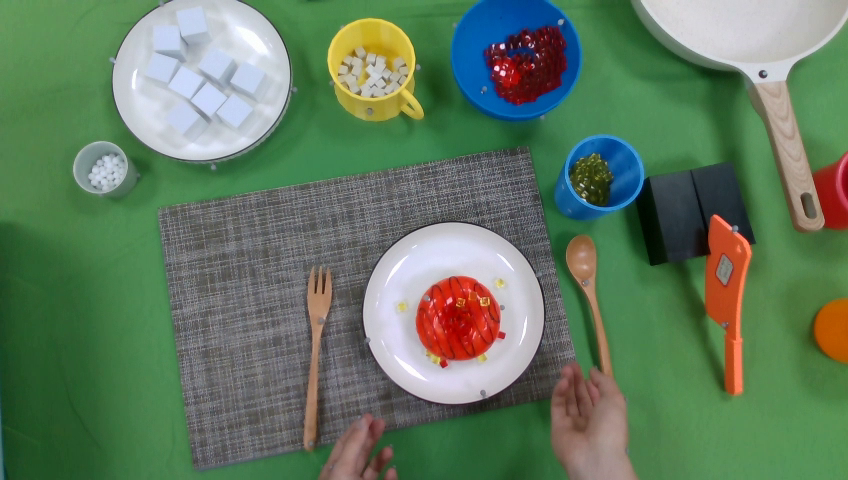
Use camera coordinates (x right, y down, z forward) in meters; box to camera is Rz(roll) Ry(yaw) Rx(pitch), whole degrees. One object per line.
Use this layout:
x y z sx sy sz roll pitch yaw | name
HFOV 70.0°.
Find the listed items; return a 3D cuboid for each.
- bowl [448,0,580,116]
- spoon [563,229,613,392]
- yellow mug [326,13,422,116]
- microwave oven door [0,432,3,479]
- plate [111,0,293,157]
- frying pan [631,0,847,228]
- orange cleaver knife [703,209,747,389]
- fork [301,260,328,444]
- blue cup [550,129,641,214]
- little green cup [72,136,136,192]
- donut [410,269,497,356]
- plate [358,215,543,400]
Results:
0.101 -0.211 0.719 0.151 0.077 0.151 0 83 -2 | bowl
0.198 0.082 0.712 0.042 0.021 0.193 -8 82 -23 | spoon
-0.051 -0.196 0.717 0.131 0.064 0.100 42 82 2 | yellow mug
-0.470 0.195 0.539 0.039 0.244 0.354 -8 83 -3 | microwave oven door
-0.259 -0.197 0.722 0.208 0.039 0.207 0 82 -2 | plate
0.390 -0.247 0.724 0.307 0.103 0.485 -5 75 -2 | frying pan
0.339 0.070 0.691 0.012 0.076 0.212 -11 112 -4 | orange cleaver knife
-0.127 0.126 0.690 0.028 0.018 0.206 4 81 -15 | fork
0.187 -0.069 0.693 0.093 0.100 0.092 1 80 -3 | blue cup
-0.367 -0.085 0.700 0.061 0.038 0.061 1 83 -4 | little green cup
0.034 0.082 0.682 0.099 0.048 0.099 0 86 -2 | donut
0.030 0.076 0.694 0.209 0.038 0.208 0 83 -2 | plate
